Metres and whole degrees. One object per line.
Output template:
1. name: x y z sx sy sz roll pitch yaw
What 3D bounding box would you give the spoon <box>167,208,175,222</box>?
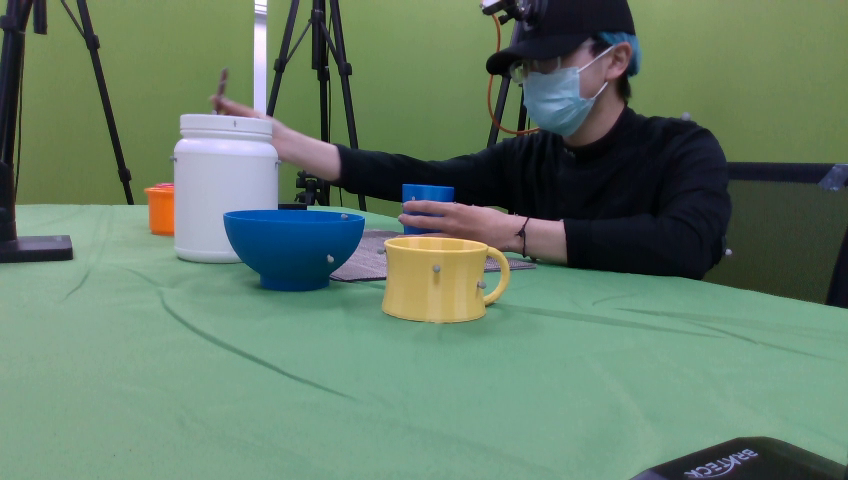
1. spoon: -0.447 -0.104 1.192 0.041 0.022 0.193 7 52 14

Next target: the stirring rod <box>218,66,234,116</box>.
1. stirring rod: -0.337 -0.221 1.013 0.006 0.175 0.014 -5 -27 13

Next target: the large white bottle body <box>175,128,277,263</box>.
1. large white bottle body: -0.265 -0.068 0.814 0.131 0.184 0.130 2 7 0

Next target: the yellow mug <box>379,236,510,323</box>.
1. yellow mug: 0.024 0.034 0.575 0.131 0.064 0.099 1 7 -22

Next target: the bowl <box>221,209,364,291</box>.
1. bowl: -0.142 0.011 0.660 0.151 0.077 0.151 2 7 0

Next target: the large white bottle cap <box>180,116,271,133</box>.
1. large white bottle cap: -0.262 -0.152 0.803 0.115 0.018 0.115 2 7 0

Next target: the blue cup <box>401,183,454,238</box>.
1. blue cup: 0.003 -0.038 0.967 0.093 0.100 0.092 4 7 0
